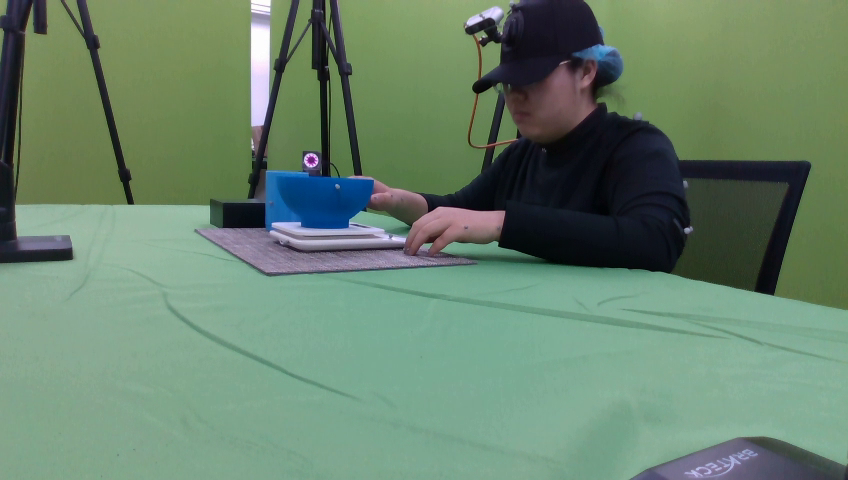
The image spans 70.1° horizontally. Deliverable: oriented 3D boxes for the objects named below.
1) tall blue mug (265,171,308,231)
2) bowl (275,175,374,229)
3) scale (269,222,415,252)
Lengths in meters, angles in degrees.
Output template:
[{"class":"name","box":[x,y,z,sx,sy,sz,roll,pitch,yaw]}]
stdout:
[{"class":"tall blue mug","box":[-0.248,-0.073,1.121,0.078,0.108,0.107,3,7,8]},{"class":"bowl","box":[-0.153,-0.059,0.933,0.151,0.077,0.151,2,6,0]},{"class":"scale","box":[-0.130,-0.008,0.958,0.202,0.031,0.148,-1,9,-32]}]
